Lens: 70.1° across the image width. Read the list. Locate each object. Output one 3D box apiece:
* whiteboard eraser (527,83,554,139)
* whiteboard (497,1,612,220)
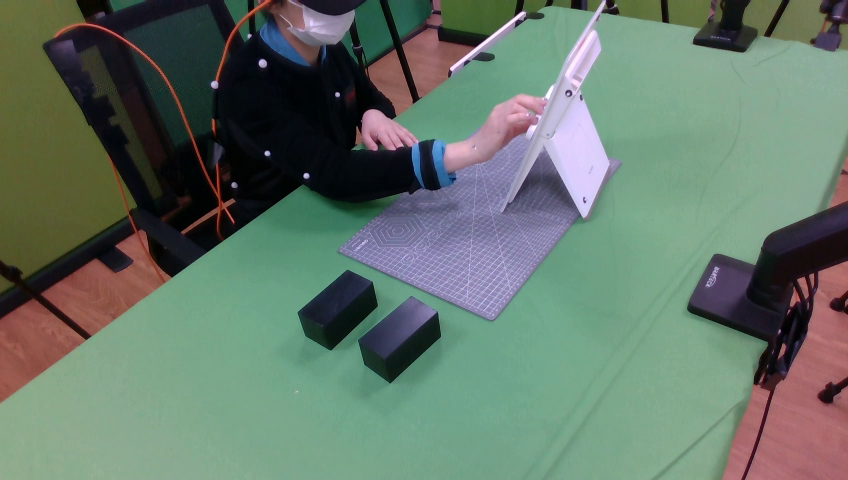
[{"bbox_3d":[0.189,-0.202,0.956,0.019,0.041,0.101,24,80,7],"label":"whiteboard eraser"},{"bbox_3d":[0.260,-0.177,0.963,0.143,0.306,0.217,28,49,9],"label":"whiteboard"}]
